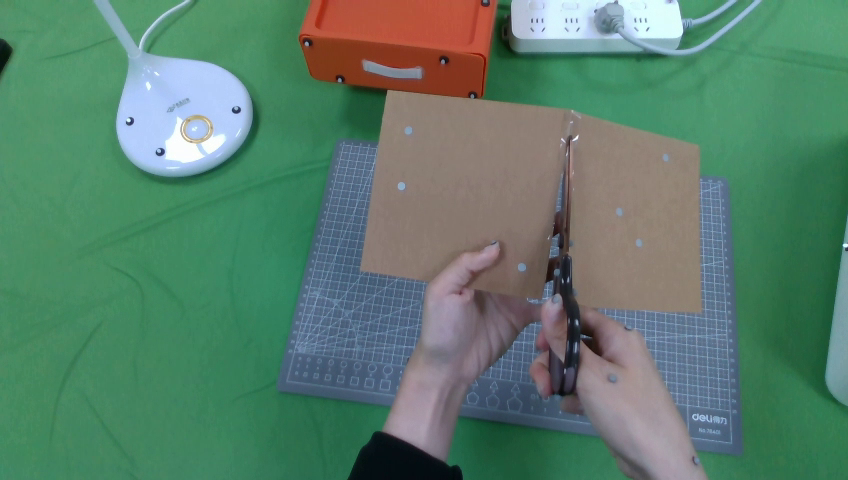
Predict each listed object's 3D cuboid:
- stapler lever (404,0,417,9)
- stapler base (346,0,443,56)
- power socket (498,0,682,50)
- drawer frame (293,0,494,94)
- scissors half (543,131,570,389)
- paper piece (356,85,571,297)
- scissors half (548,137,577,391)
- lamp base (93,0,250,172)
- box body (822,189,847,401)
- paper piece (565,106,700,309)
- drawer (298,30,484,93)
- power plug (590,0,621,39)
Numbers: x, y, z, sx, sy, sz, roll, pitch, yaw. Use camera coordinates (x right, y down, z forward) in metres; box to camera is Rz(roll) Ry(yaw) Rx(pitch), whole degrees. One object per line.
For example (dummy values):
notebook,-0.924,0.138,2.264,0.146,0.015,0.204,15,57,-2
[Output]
stapler lever,-0.046,-0.267,0.681,0.117,0.040,0.027,36,88,20
stapler base,-0.038,-0.262,0.705,0.129,0.024,0.041,36,88,19
power socket,0.207,-0.274,0.758,0.227,0.033,0.071,1,67,2
drawer frame,-0.021,-0.282,0.694,0.201,0.083,0.212,7,66,6
scissors half,0.092,0.012,0.411,0.013,0.040,0.175,5,89,6
paper piece,0.025,-0.037,0.429,0.135,0.009,0.138,9,93,13
scissors half,0.091,0.008,0.390,0.013,0.040,0.174,5,68,0
lamp base,-0.301,-0.190,0.657,0.178,0.181,0.160,38,72,20
box body,0.546,0.008,0.554,0.253,0.161,0.362,19,69,10
paper piece,0.155,-0.020,0.442,0.136,0.004,0.135,6,83,-27
drawer,-0.020,-0.279,0.693,0.194,0.074,0.210,8,67,6
power plug,0.215,-0.257,0.725,0.035,0.053,0.072,11,67,6
